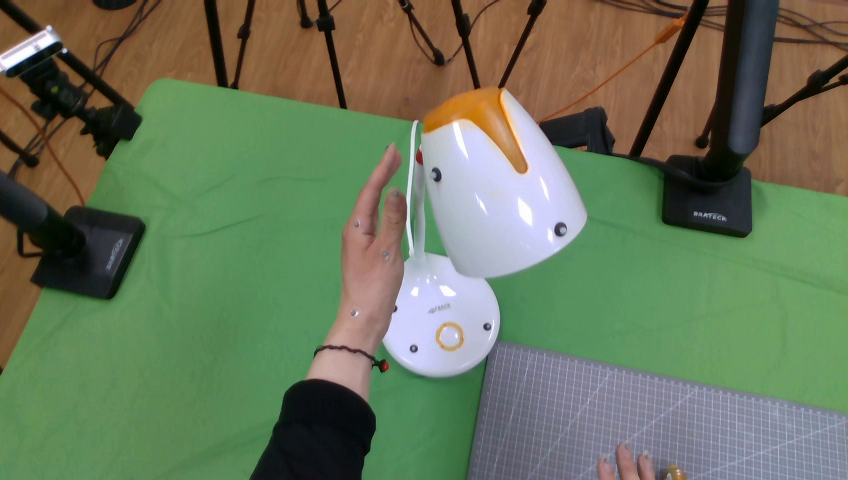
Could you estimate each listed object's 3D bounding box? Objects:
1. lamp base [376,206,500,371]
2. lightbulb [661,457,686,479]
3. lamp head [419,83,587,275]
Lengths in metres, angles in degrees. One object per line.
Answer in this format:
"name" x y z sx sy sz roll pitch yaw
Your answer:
"lamp base" 0.011 0.049 0.723 0.161 0.181 0.177 -27 65 -12
"lightbulb" 0.286 0.297 0.680 0.059 0.060 0.106 5 50 3
"lamp head" 0.046 -0.053 0.450 0.112 0.111 0.123 -33 107 -14
